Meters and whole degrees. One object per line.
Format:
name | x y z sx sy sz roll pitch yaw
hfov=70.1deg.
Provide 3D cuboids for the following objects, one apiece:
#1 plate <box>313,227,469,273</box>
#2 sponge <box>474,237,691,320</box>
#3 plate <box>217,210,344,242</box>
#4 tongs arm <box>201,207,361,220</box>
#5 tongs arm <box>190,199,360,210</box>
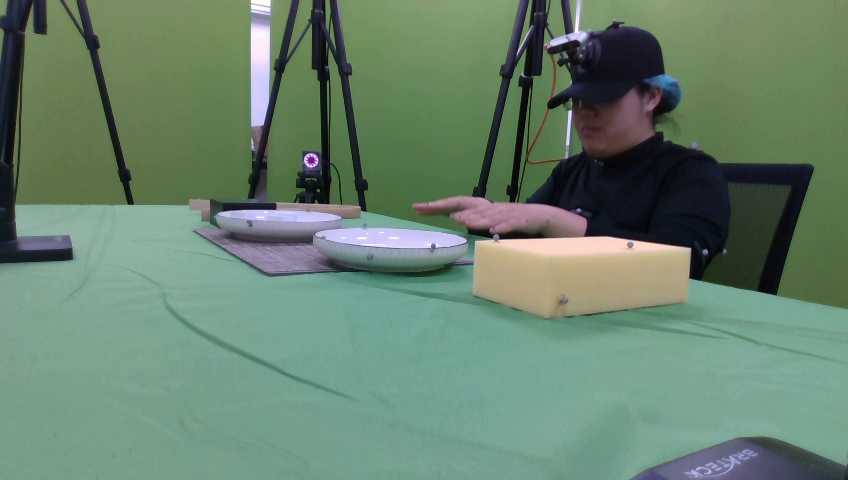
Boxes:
plate | -0.044 0.012 0.807 0.209 0.038 0.209 2 7 0
sponge | 0.170 0.034 0.643 0.208 0.061 0.117 -2 7 -33
plate | -0.241 -0.024 1.026 0.208 0.039 0.207 3 7 0
tongs arm | -0.302 -0.060 1.350 0.390 0.028 0.028 -3 7 -38
tongs arm | -0.341 -0.075 1.419 0.387 0.026 0.050 1 8 -25
